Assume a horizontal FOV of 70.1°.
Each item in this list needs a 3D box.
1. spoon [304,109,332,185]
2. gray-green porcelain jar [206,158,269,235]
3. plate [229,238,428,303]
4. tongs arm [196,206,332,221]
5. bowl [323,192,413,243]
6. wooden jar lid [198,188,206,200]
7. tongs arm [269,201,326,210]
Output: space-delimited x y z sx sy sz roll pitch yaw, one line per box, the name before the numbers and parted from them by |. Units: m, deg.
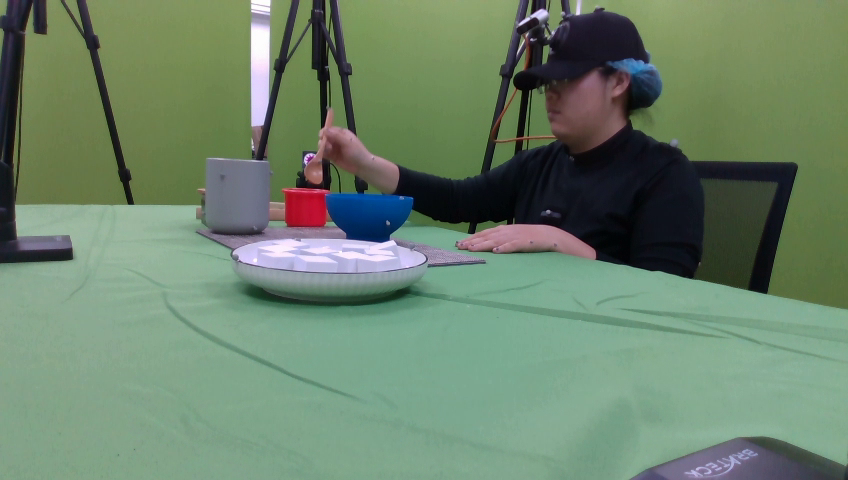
spoon | -0.211 -0.195 1.244 0.042 0.193 0.021 27 -30 -29
gray-green porcelain jar | -0.322 -0.076 1.048 0.106 0.126 0.106 3 7 0
plate | -0.099 0.032 0.651 0.209 0.038 0.209 3 8 0
tongs arm | -0.294 -0.057 1.330 0.389 0.028 0.028 0 5 -20
bowl | -0.094 -0.037 1.015 0.151 0.077 0.151 2 7 0
wooden jar lid | -0.382 -0.088 1.175 0.108 0.020 0.108 3 8 0
tongs arm | -0.308 -0.072 1.410 0.386 0.026 0.050 3 8 -6
